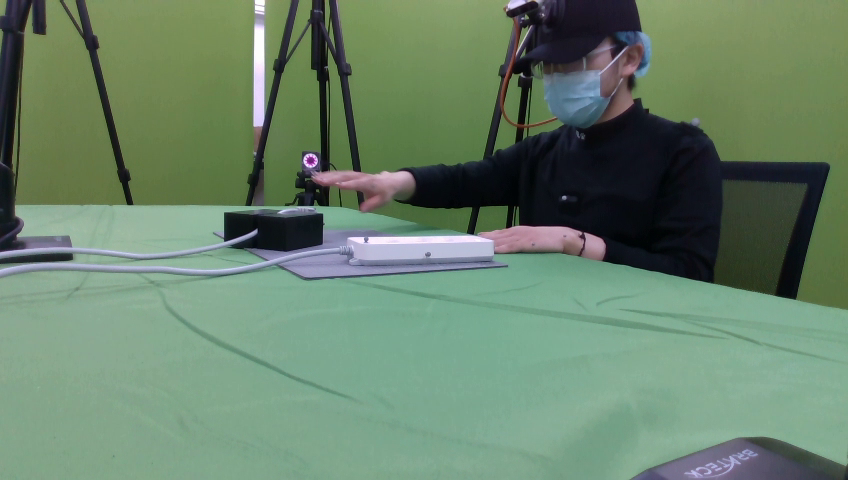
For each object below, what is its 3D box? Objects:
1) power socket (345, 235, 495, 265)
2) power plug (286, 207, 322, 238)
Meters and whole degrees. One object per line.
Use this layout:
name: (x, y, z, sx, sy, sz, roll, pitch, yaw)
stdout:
power socket: (-0.003, 0.012, 0.851, 0.228, 0.032, 0.072, -2, 7, -26)
power plug: (-0.203, -0.029, 1.001, 0.073, 0.052, 0.035, -1, 4, -40)
